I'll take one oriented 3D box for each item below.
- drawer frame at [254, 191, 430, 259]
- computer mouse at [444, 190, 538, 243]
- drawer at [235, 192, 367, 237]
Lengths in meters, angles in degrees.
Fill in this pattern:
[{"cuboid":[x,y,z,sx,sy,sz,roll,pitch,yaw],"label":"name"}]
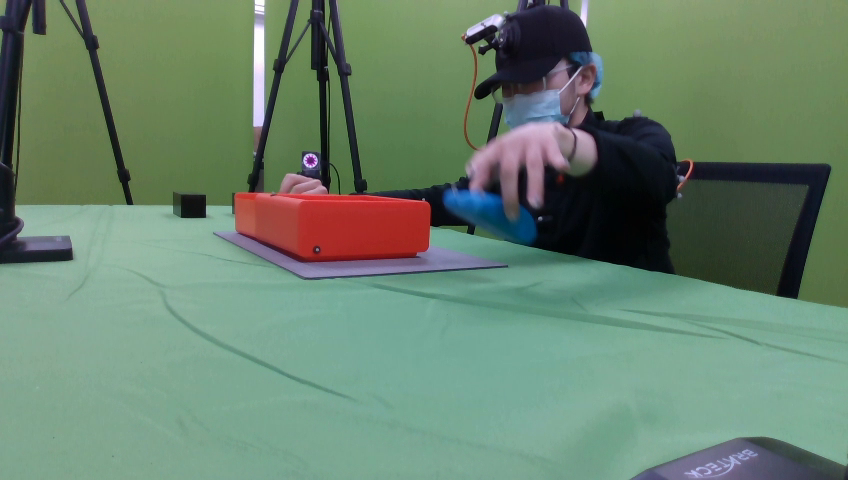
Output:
[{"cuboid":[-0.129,-0.029,0.912,0.203,0.082,0.212,-1,8,-31],"label":"drawer frame"},{"cuboid":[0.080,-0.032,0.703,0.118,0.041,0.062,20,0,-38],"label":"computer mouse"},{"cuboid":[-0.195,-0.041,1.021,0.195,0.073,0.210,-1,6,-31],"label":"drawer"}]
